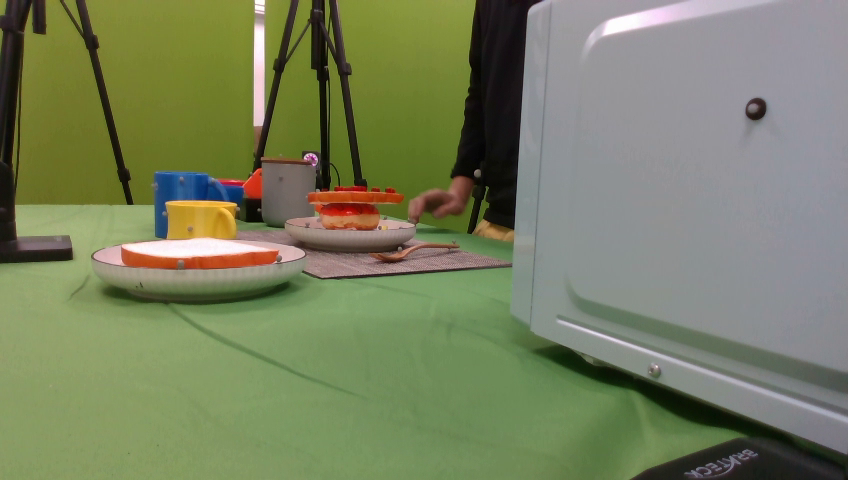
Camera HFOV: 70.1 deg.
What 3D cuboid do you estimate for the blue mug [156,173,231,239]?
[{"bbox_3d":[-0.381,-0.057,1.004,0.117,0.106,0.082,1,8,-12],"label":"blue mug"}]

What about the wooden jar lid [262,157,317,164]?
[{"bbox_3d":[-0.269,-0.154,1.208,0.108,0.020,0.108,3,5,0],"label":"wooden jar lid"}]

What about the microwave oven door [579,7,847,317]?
[{"bbox_3d":[0.295,-0.067,0.570,0.358,0.243,0.039,-3,9,-31],"label":"microwave oven door"}]

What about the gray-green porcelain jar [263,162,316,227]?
[{"bbox_3d":[-0.271,-0.092,1.217,0.106,0.126,0.106,2,7,0],"label":"gray-green porcelain jar"}]

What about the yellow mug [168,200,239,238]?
[{"bbox_3d":[-0.320,-0.023,0.904,0.130,0.064,0.100,9,11,36],"label":"yellow mug"}]

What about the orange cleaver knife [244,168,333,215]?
[{"bbox_3d":[-0.300,-0.089,1.351,0.212,0.077,0.012,28,-9,-34],"label":"orange cleaver knife"}]

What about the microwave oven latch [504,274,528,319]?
[{"bbox_3d":[0.100,0.041,0.471,0.079,0.029,0.030,-1,7,-27],"label":"microwave oven latch"}]

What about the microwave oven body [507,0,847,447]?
[{"bbox_3d":[0.331,-0.042,0.425,0.444,0.260,0.324,-2,8,-31],"label":"microwave oven body"}]

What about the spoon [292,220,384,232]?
[{"bbox_3d":[-0.154,-0.028,1.123,0.195,0.021,0.041,-5,-11,-39],"label":"spoon"}]

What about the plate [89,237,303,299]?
[{"bbox_3d":[-0.233,0.029,0.637,0.208,0.039,0.207,2,7,0],"label":"plate"}]

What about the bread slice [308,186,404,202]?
[{"bbox_3d":[-0.114,-0.071,0.952,0.134,0.018,0.107,-1,1,21],"label":"bread slice"}]

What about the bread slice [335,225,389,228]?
[{"bbox_3d":[-0.103,-0.010,0.961,0.131,0.019,0.105,3,9,24],"label":"bread slice"}]

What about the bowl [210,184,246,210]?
[{"bbox_3d":[-0.422,-0.067,1.166,0.151,0.077,0.151,2,7,0],"label":"bowl"}]

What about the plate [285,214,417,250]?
[{"bbox_3d":[-0.116,-0.014,0.964,0.209,0.038,0.209,2,8,0],"label":"plate"}]

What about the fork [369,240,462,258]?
[{"bbox_3d":[-0.005,0.011,0.874,0.028,0.018,0.208,-1,6,37],"label":"fork"}]
